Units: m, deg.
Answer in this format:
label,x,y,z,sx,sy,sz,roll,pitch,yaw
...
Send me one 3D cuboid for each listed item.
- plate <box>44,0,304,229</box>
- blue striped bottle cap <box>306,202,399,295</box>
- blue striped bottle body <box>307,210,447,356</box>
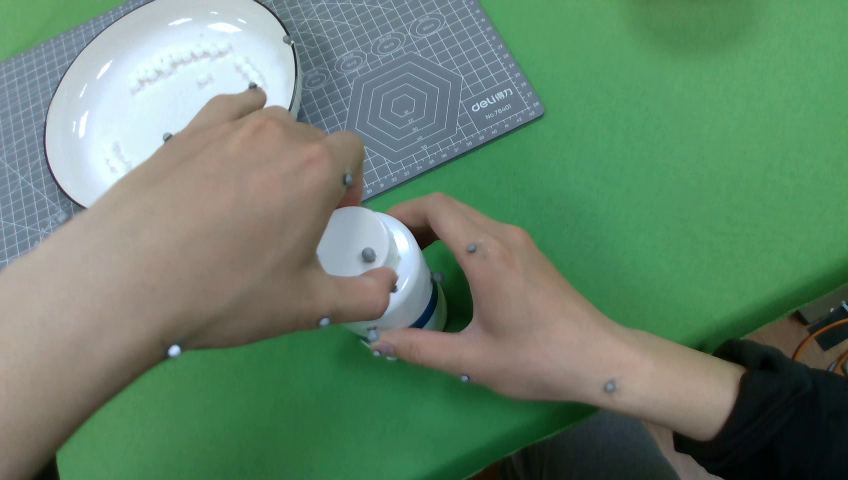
label,x,y,z,sx,sy,sz,roll,pitch,yaw
plate,-0.189,-0.100,0.473,0.207,0.039,0.206,-4,68,10
blue striped bottle cap,-0.035,0.004,0.301,0.044,0.021,0.044,-3,71,9
blue striped bottle body,-0.026,0.025,0.348,0.063,0.122,0.062,-4,67,10
